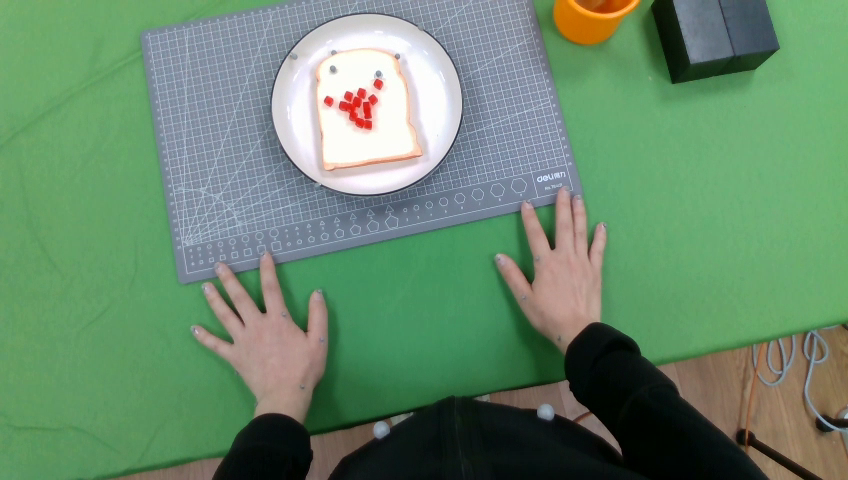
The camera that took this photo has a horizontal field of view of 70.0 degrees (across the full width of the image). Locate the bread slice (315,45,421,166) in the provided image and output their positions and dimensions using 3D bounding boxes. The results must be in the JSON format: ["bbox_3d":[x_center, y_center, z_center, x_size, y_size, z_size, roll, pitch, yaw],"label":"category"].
[{"bbox_3d":[-0.070,-0.149,0.667,0.107,0.018,0.134,-12,81,-3],"label":"bread slice"}]

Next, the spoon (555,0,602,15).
[{"bbox_3d":[0.224,-0.275,0.634,0.022,0.192,0.041,24,74,-41],"label":"spoon"}]

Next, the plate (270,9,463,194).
[{"bbox_3d":[-0.061,-0.149,0.666,0.209,0.038,0.208,0,81,0],"label":"plate"}]
